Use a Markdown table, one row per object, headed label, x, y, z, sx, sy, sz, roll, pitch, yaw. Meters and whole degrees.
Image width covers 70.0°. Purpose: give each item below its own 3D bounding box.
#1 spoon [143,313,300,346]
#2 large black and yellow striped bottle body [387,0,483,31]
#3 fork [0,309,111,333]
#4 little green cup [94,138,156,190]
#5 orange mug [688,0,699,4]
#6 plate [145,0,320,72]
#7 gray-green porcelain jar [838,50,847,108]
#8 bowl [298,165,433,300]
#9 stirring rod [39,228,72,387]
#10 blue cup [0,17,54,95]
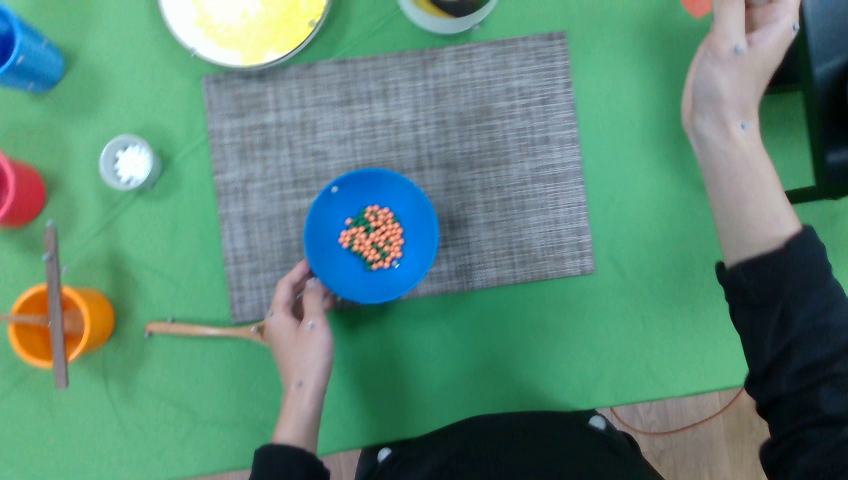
| label | x | y | z | sx | sy | sz | roll | pitch | yaw |
| --- | --- | --- | --- | --- | --- | --- | --- | --- | --- |
| spoon | -0.246 | 0.106 | 0.733 | 0.194 | 0.021 | 0.042 | 2 | 104 | -2 |
| large black and yellow striped bottle body | 0.015 | -0.322 | 0.661 | 0.131 | 0.184 | 0.130 | 0 | 89 | -1 |
| fork | -0.458 | 0.085 | 0.666 | 0.209 | 0.018 | 0.028 | 12 | 91 | -44 |
| little green cup | -0.354 | -0.088 | 0.724 | 0.061 | 0.038 | 0.061 | 0 | 90 | 0 |
| orange mug | 0.188 | -0.241 | 0.454 | 0.083 | 0.101 | 0.126 | -32 | 91 | 10 |
| plate | -0.227 | -0.303 | 0.729 | 0.209 | 0.038 | 0.209 | 0 | 90 | -1 |
| gray-green porcelain jar | 0.439 | -0.153 | 0.519 | 0.106 | 0.126 | 0.106 | 0 | 89 | 0 |
| bowl | -0.065 | -0.007 | 0.707 | 0.151 | 0.077 | 0.151 | 0 | 90 | 0 |
| stirring rod | -0.405 | 0.074 | 0.665 | 0.014 | 0.006 | 0.176 | -8 | 90 | 0 |
| blue cup | -0.481 | -0.207 | 0.691 | 0.092 | 0.100 | 0.092 | 0 | 90 | 1 |
